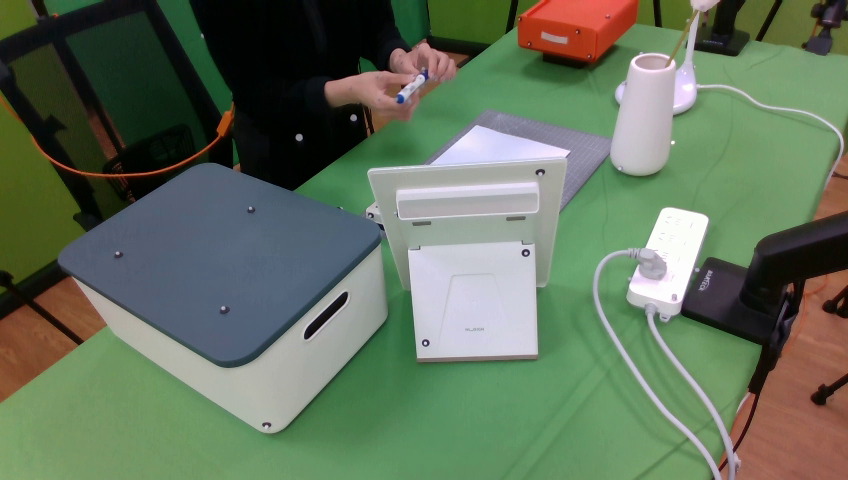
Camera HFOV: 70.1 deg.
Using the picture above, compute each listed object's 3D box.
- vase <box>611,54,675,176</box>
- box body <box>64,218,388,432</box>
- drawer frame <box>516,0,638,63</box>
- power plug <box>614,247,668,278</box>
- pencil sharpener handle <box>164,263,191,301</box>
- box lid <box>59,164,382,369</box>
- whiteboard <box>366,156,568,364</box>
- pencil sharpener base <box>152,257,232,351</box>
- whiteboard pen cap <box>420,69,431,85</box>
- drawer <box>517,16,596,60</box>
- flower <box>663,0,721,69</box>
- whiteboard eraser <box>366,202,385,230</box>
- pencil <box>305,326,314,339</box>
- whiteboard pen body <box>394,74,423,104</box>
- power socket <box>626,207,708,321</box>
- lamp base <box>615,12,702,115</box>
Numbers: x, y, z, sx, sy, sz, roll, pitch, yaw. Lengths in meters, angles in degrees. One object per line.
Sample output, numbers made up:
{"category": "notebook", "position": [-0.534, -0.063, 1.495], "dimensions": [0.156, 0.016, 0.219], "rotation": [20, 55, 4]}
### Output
{"category": "vase", "position": [0.377, -0.209, 1.031], "dimensions": [0.098, 0.201, 0.097], "rotation": [-3, 40, 3]}
{"category": "box body", "position": [-0.256, 0.065, 0.827], "dimensions": [0.361, 0.161, 0.255], "rotation": [20, 48, 29]}
{"category": "drawer frame", "position": [0.355, -0.508, 1.410], "dimensions": [0.200, 0.083, 0.214], "rotation": [23, 51, 32]}
{"category": "power plug", "position": [0.306, 0.031, 0.851], "dimensions": [0.072, 0.053, 0.035], "rotation": [24, 49, 33]}
{"category": "pencil sharpener handle", "position": [-0.354, 0.055, 0.866], "dimensions": [0.036, 0.068, 0.030], "rotation": [-17, 39, -29]}
{"category": "box lid", "position": [-0.263, 0.010, 0.777], "dimensions": [0.368, 0.015, 0.264], "rotation": [20, 47, 29]}
{"category": "whiteboard", "position": [0.059, 0.050, 0.738], "dimensions": [0.217, 0.307, 0.143], "rotation": [-2, 60, 6]}
{"category": "pencil sharpener base", "position": [-0.322, 0.088, 0.841], "dimensions": [0.061, 0.107, 0.076], "rotation": [-27, 44, -20]}
{"category": "whiteboard pen cap", "position": [-0.001, -0.279, 1.039], "dimensions": [0.018, 0.018, 0.033], "rotation": [8, 37, 17]}
{"category": "drawer", "position": [0.353, -0.506, 1.405], "dimensions": [0.193, 0.073, 0.212], "rotation": [23, 49, 32]}
{"category": "flower", "position": [0.379, -0.261, 0.965], "dimensions": [0.044, 0.362, 0.038], "rotation": [20, 53, 4]}
{"category": "whiteboard eraser", "position": [-0.038, -0.038, 1.006], "dimensions": [0.112, 0.042, 0.055], "rotation": [16, 47, 25]}
{"category": "pencil", "position": [-0.187, 0.106, 0.880], "dimensions": [0.012, 0.012, 0.192], "rotation": [-27, 41, -22]}
{"category": "whiteboard pen body", "position": [-0.020, -0.251, 0.989], "dimensions": [0.017, 0.017, 0.141], "rotation": [7, 33, 16]}
{"category": "power socket", "position": [0.359, 0.025, 0.886], "dimensions": [0.072, 0.033, 0.227], "rotation": [16, 46, 26]}
{"category": "lamp base", "position": [0.484, -0.363, 1.211], "dimensions": [0.180, 0.181, 0.159], "rotation": [-15, 41, -14]}
